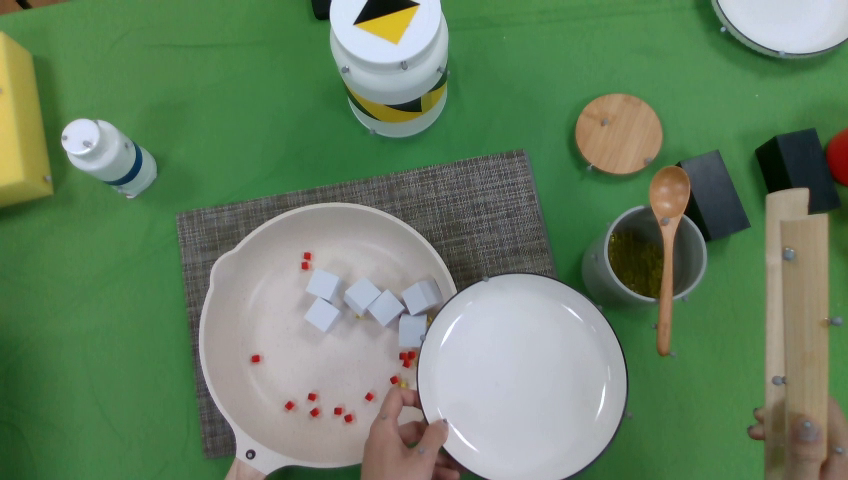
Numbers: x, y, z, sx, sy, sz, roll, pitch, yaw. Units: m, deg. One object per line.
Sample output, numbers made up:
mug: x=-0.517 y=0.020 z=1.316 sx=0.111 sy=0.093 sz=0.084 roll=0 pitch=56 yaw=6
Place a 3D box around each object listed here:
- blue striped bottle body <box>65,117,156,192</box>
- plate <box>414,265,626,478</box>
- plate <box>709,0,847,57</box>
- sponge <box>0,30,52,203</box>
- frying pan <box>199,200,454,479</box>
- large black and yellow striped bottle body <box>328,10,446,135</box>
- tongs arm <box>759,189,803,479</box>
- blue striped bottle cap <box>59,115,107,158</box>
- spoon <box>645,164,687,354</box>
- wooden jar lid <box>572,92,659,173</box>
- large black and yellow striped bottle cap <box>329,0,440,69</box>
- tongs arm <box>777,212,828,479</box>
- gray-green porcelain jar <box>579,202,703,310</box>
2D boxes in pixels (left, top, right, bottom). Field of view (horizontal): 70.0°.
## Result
blue striped bottle body: x=-0.376 y=-0.104 z=0.721 sx=0.063 sy=0.121 sz=0.063 roll=0 pitch=78 yaw=1
plate: x=0.095 y=0.130 z=0.615 sx=0.207 sy=0.039 sz=0.206 roll=-2 pitch=76 yaw=6
plate: x=0.472 y=-0.334 z=0.797 sx=0.209 sy=0.038 sz=0.208 roll=0 pitch=79 yaw=1
sponge: x=-0.560 y=-0.150 z=0.763 sx=0.118 sy=0.061 sz=0.206 roll=-16 pitch=80 yaw=-3
frying pan: x=-0.156 y=0.187 z=0.668 sx=0.306 sy=0.103 sz=0.486 roll=30 pitch=73 yaw=7
large black and yellow striped bottle body: x=-0.040 y=-0.215 z=0.708 sx=0.131 sy=0.184 sz=0.130 roll=0 pitch=78 yaw=1
tongs arm: x=0.272 y=0.138 z=0.460 sx=0.028 sy=0.028 sz=0.391 roll=-12 pitch=117 yaw=10
blue striped bottle cap: x=-0.378 y=-0.115 z=0.672 sx=0.044 sy=0.021 sz=0.044 roll=0 pitch=80 yaw=0
spoon: x=0.243 y=0.019 z=0.617 sx=0.041 sy=0.022 sz=0.193 roll=5 pitch=83 yaw=-1
wooden jar lid: x=0.242 y=-0.135 z=0.772 sx=0.108 sy=0.021 sz=0.108 roll=0 pitch=81 yaw=1
large black and yellow striped bottle cap: x=-0.041 y=-0.234 z=0.625 sx=0.115 sy=0.019 sz=0.114 roll=0 pitch=81 yaw=1
tongs arm: x=0.269 y=0.149 z=0.440 sx=0.026 sy=0.050 sz=0.387 roll=-11 pitch=113 yaw=13
gray-green porcelain jar: x=0.238 y=0.024 z=0.687 sx=0.106 sy=0.127 sz=0.105 roll=0 pitch=78 yaw=1
